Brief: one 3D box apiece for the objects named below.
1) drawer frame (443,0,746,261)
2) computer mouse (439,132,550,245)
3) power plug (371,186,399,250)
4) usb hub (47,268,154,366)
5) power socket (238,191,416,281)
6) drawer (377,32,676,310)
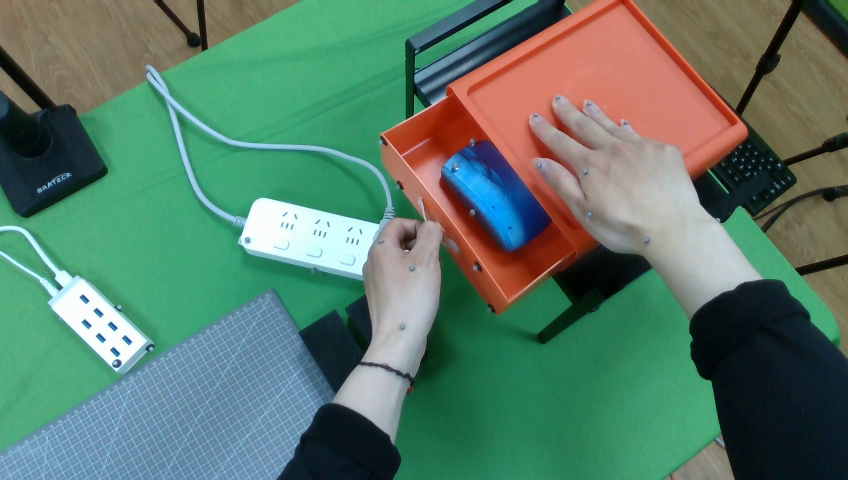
[{"bbox_3d":[0.158,-0.117,0.596,0.213,0.083,0.200,-33,77,-13],"label":"drawer frame"},{"bbox_3d":[0.068,-0.053,0.589,0.063,0.041,0.116,-35,75,-10],"label":"computer mouse"},{"bbox_3d":[-0.041,-0.022,0.752,0.035,0.053,0.072,24,71,6],"label":"power plug"},{"bbox_3d":[-0.387,0.092,0.725,0.124,0.025,0.049,39,76,9],"label":"usb hub"},{"bbox_3d":[-0.121,-0.005,0.762,0.227,0.033,0.072,13,73,2],"label":"power socket"},{"bbox_3d":[0.094,-0.072,0.580,0.212,0.073,0.193,-33,77,-12],"label":"drawer"}]
